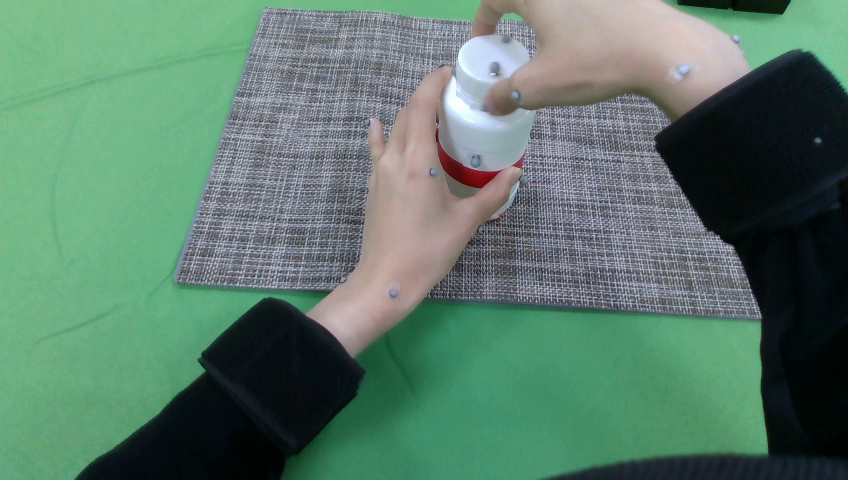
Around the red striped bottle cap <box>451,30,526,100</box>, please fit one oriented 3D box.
[{"bbox_3d":[0.039,-0.106,0.364,0.044,0.018,0.044,2,58,-2],"label":"red striped bottle cap"}]

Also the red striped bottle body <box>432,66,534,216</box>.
[{"bbox_3d":[0.038,-0.075,0.411,0.063,0.120,0.062,1,56,-1],"label":"red striped bottle body"}]
